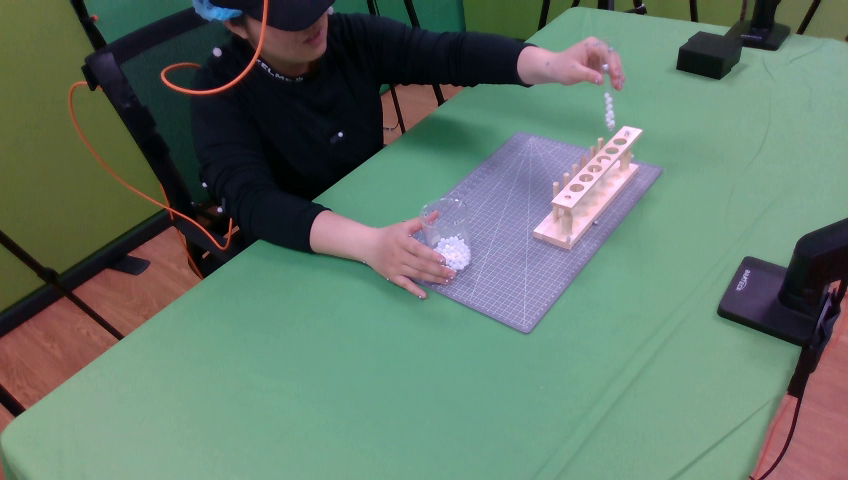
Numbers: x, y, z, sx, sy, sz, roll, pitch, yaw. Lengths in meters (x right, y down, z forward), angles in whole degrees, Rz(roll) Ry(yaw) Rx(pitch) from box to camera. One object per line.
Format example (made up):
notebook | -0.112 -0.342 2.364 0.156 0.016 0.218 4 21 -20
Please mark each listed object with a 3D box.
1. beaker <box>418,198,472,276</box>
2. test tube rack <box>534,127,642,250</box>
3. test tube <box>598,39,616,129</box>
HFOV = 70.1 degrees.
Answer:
beaker | 0.037 -0.004 0.916 0.073 0.101 0.084 24 49 33
test tube rack | 0.271 -0.094 0.989 0.066 0.085 0.243 23 49 33
test tube | 0.282 -0.235 0.928 0.017 0.151 0.017 -12 40 11
